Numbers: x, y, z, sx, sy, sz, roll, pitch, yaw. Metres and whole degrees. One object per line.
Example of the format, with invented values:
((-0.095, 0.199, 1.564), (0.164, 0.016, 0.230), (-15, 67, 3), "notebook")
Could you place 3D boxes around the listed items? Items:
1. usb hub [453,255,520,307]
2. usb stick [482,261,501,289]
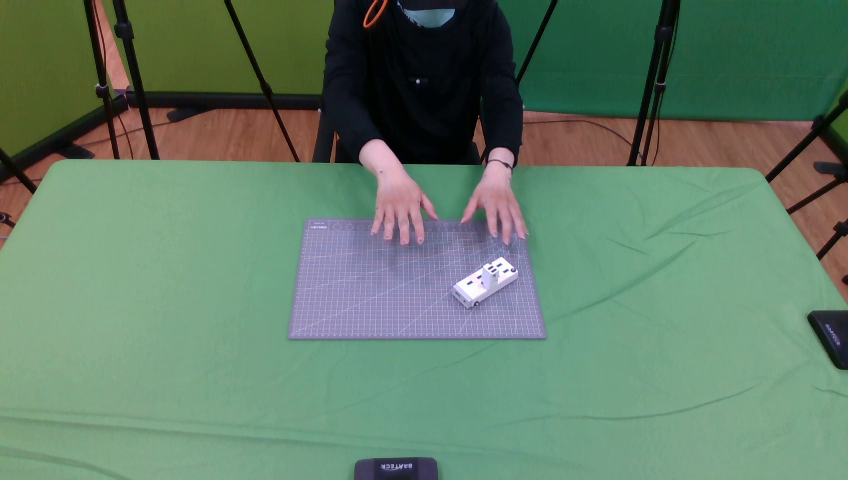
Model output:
((0.117, 0.076, 1.122), (0.125, 0.025, 0.049), (-28, 55, -26), "usb hub")
((0.120, 0.068, 1.090), (0.021, 0.059, 0.027), (-30, 57, -28), "usb stick")
